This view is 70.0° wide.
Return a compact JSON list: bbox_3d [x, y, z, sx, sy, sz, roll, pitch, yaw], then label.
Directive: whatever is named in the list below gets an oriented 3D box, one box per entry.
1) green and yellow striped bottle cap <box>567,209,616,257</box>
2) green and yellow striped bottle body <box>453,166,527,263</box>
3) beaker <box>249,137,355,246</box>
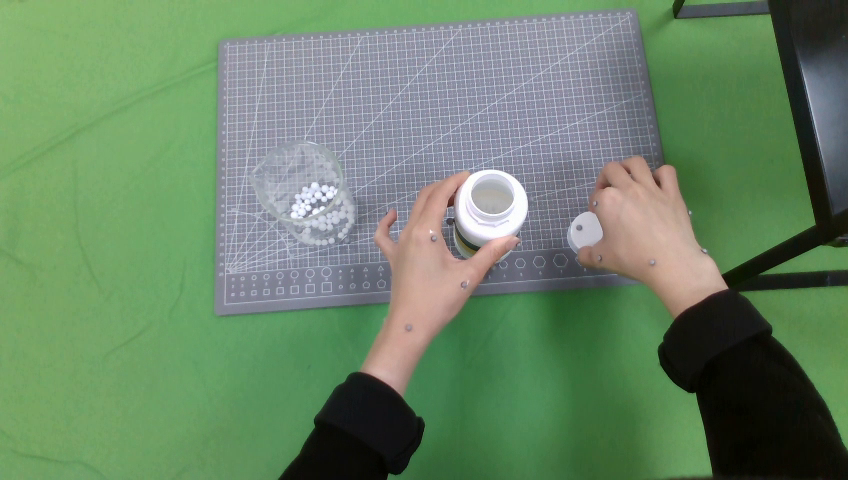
[{"bbox_3d":[0.161,-0.007,0.584,0.045,0.020,0.045,0,75,2],"label":"green and yellow striped bottle cap"},{"bbox_3d":[0.057,-0.023,0.537,0.063,0.120,0.063,0,75,2],"label":"green and yellow striped bottle body"},{"bbox_3d":[-0.107,-0.039,0.556,0.084,0.101,0.073,7,75,4],"label":"beaker"}]
